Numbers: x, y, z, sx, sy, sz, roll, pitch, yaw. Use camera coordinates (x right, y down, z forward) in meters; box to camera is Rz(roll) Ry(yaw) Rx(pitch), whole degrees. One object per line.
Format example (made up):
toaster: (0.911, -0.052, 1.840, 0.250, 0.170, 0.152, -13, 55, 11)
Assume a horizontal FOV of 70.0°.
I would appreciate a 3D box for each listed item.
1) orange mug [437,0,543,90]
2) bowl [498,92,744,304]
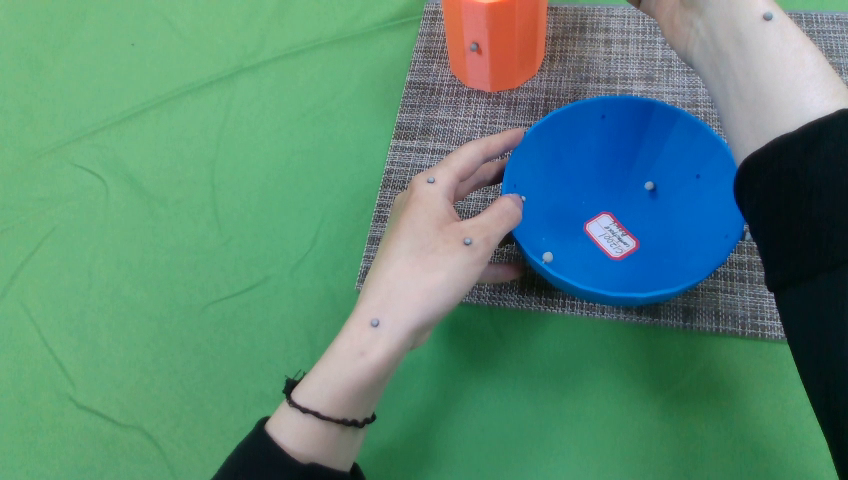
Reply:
orange mug: (0.061, -0.206, 0.508, 0.083, 0.101, 0.125, 17, 71, 16)
bowl: (0.127, -0.017, 0.415, 0.151, 0.077, 0.150, -3, 63, 7)
